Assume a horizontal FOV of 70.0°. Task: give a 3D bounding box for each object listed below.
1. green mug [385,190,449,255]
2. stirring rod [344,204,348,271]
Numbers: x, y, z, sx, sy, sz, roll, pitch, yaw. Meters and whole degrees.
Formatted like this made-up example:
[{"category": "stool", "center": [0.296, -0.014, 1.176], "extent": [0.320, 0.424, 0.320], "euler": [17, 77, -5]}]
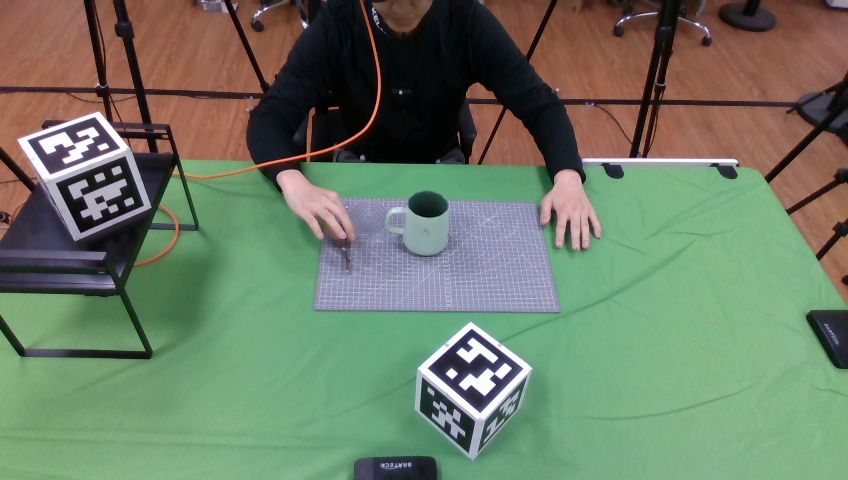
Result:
[{"category": "green mug", "center": [-0.013, -0.033, 1.166], "extent": [0.125, 0.105, 0.092], "euler": [2, 46, -2]}, {"category": "stirring rod", "center": [-0.153, -0.007, 1.191], "extent": [0.006, 0.014, 0.175], "euler": [-4, 47, -3]}]
